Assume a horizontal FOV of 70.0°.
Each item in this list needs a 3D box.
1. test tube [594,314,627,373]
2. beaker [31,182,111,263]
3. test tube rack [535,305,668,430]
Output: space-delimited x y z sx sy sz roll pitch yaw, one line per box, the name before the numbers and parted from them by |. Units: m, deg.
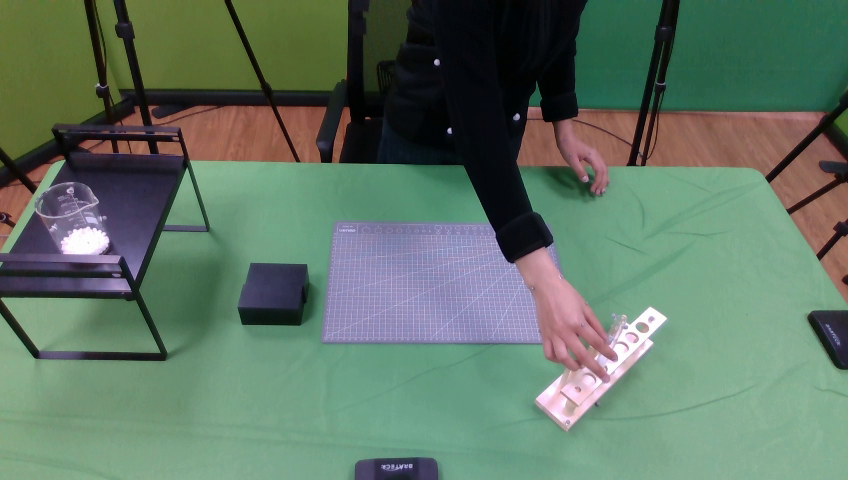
test tube | 0.271 0.157 0.890 0.017 0.151 0.017 1 47 -1
beaker | -0.502 -0.022 0.877 0.084 0.101 0.073 -2 47 -6
test tube rack | 0.290 0.193 0.984 0.242 0.085 0.066 -32 57 -30
